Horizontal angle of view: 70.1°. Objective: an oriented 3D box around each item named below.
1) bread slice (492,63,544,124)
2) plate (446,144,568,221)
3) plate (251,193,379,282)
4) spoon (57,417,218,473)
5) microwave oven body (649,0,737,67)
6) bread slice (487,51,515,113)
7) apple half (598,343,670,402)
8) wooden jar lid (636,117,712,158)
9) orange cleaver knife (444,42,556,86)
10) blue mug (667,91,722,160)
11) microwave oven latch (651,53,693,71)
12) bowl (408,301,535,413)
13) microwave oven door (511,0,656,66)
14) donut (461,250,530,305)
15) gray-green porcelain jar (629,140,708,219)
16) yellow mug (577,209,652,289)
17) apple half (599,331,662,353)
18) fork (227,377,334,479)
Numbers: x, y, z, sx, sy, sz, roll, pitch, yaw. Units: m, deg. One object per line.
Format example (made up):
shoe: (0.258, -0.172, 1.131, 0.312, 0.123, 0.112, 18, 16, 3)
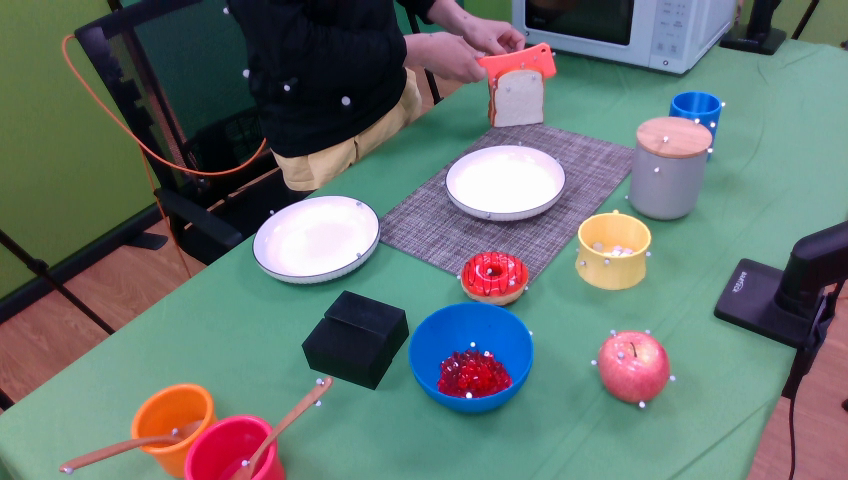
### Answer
bread slice: (0.185, -0.286, 1.190, 0.105, 0.132, 0.019, -5, 48, 3)
plate: (0.142, -0.097, 1.045, 0.207, 0.039, 0.206, -4, 40, 4)
plate: (-0.174, -0.001, 0.984, 0.209, 0.038, 0.208, -4, 40, 4)
spoon: (-0.304, 0.221, 0.661, 0.041, 0.195, 0.021, 19, 92, 27)
microwave oven body: (0.475, -0.602, 1.411, 0.438, 0.261, 0.327, 23, 50, 32)
bread slice: (0.183, -0.319, 1.232, 0.107, 0.135, 0.018, -4, 45, -1)
apple half: (0.247, 0.161, 0.710, 0.081, 0.075, 0.053, 2, 47, 5)
wooden jar lid: (0.377, -0.151, 0.917, 0.108, 0.021, 0.108, -2, 41, 3)
orange cleaver knife: (0.146, -0.332, 1.157, 0.211, 0.077, 0.012, -6, 43, 4)
blue mug: (0.474, -0.207, 1.079, 0.082, 0.106, 0.116, 4, 42, 13)
microwave oven latch: (0.532, -0.386, 1.301, 0.078, 0.029, 0.030, 27, 52, 34)
bowl: (0.060, 0.156, 0.739, 0.151, 0.077, 0.150, -4, 40, 4)
microwave oven door: (0.351, -0.540, 1.349, 0.353, 0.245, 0.039, 24, 50, 31)
donut: (0.103, 0.053, 0.872, 0.099, 0.048, 0.098, -5, 40, 4)
gray-green porcelain jar: (0.383, -0.105, 0.958, 0.106, 0.127, 0.105, -4, 41, 4)
yellow mug: (0.279, 0.004, 0.893, 0.099, 0.064, 0.130, 5, 41, 15)
apple half: (0.249, 0.134, 0.738, 0.081, 0.081, 0.032, -2, 46, 7)
fork: (-0.163, 0.216, 0.647, 0.207, 0.019, 0.028, -49, 41, 16)
